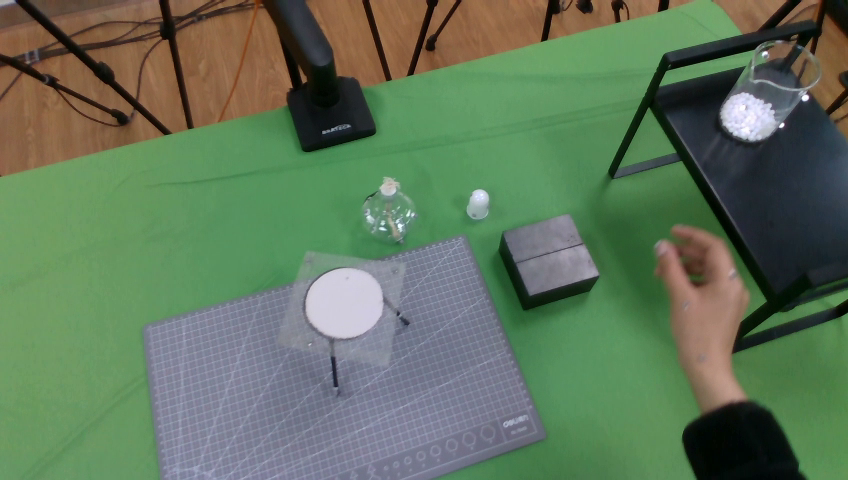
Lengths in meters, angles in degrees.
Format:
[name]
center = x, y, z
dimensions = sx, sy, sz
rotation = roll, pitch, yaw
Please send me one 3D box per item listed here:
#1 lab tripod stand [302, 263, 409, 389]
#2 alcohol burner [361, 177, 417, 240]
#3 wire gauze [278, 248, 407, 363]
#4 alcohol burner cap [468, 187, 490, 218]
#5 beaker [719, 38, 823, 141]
[lab tripod stand]
center = -0.089, 0.094, 0.737
dimensions = 0.148, 0.132, 0.147
rotation = 1, 60, -1
[alcohol burner]
center = -0.048, -0.050, 0.828
dimensions = 0.078, 0.120, 0.077
rotation = 1, 62, -2
[wire gauze]
center = -0.087, 0.068, 0.675
dimensions = 0.125, 0.011, 0.120
rotation = 10, 62, 3
[alcohol burner cap]
center = 0.080, -0.057, 0.875
dimensions = 0.034, 0.048, 0.033
rotation = 0, 62, 1
[beaker]
center = 0.395, -0.170, 0.705
dimensions = 0.084, 0.101, 0.073
rotation = -20, 64, -11
